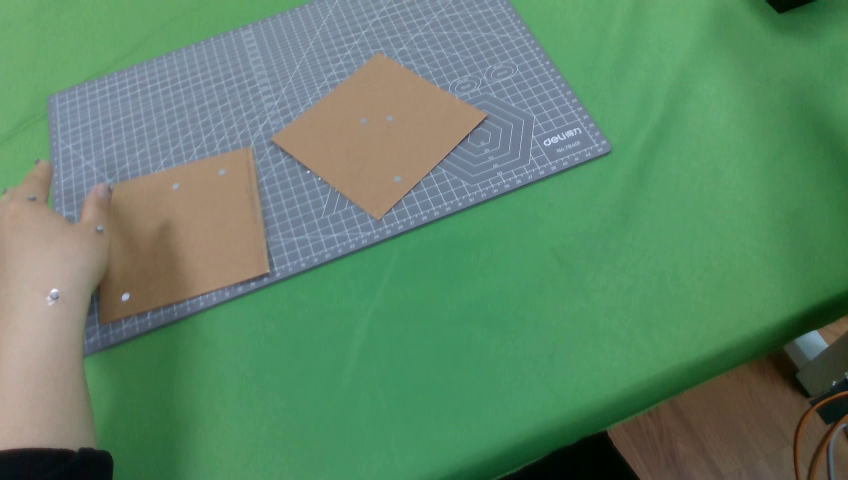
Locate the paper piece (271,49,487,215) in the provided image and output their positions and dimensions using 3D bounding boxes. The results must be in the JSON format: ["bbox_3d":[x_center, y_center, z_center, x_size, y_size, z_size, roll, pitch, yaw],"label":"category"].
[{"bbox_3d":[-0.040,-0.099,0.519,0.134,0.004,0.135,37,71,25],"label":"paper piece"}]

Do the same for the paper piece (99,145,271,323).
[{"bbox_3d":[-0.197,-0.011,0.492,0.138,0.009,0.134,-17,56,-1],"label":"paper piece"}]
